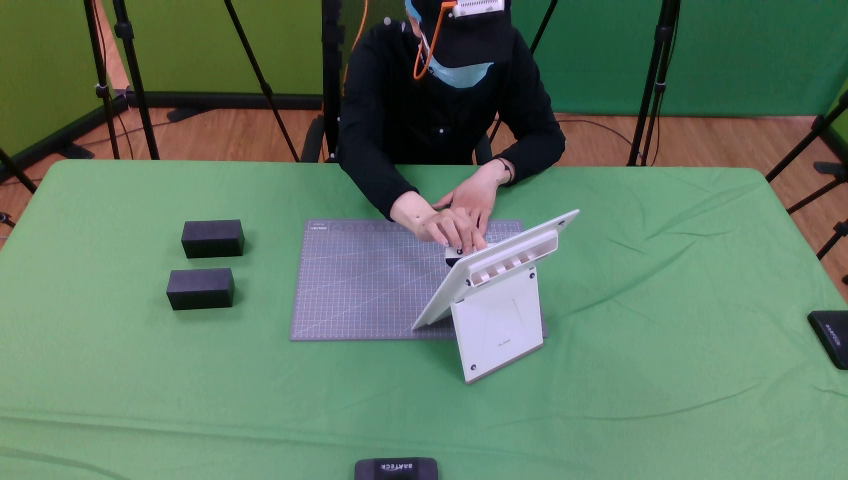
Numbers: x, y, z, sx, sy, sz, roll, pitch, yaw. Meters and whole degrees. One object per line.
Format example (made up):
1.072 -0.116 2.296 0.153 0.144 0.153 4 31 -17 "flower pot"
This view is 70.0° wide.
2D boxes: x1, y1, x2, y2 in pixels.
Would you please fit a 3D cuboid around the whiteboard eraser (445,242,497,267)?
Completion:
0.094 0.025 0.988 0.112 0.056 0.041 -5 79 22 "whiteboard eraser"

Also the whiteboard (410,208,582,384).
0.131 0.108 0.946 0.217 0.306 0.143 -21 72 -22 "whiteboard"
